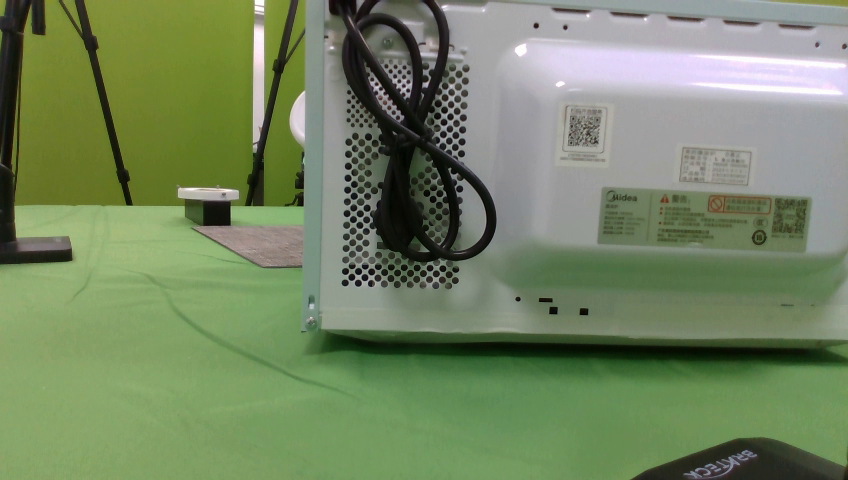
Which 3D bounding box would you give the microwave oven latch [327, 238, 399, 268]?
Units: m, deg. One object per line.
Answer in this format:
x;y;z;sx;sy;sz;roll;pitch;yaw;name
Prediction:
-0.069;0.015;0.694;0.079;0.029;0.030;3;7;-3;microwave oven latch

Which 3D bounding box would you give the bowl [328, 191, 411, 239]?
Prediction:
-0.100;-0.046;1.104;0.151;0.077;0.151;3;8;0;bowl

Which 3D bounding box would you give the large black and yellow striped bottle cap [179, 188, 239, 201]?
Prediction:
-0.434;-0.093;1.226;0.115;0.019;0.115;3;9;0;large black and yellow striped bottle cap

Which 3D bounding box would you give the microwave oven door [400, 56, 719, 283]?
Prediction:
0.155;-0.077;0.698;0.356;0.243;0.039;2;8;-5;microwave oven door

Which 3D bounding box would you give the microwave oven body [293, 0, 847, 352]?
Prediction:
0.122;-0.055;0.550;0.442;0.260;0.325;3;7;-5;microwave oven body

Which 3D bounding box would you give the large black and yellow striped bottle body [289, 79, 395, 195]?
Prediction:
-0.126;-0.163;1.005;0.130;0.130;0.184;5;-21;19;large black and yellow striped bottle body
